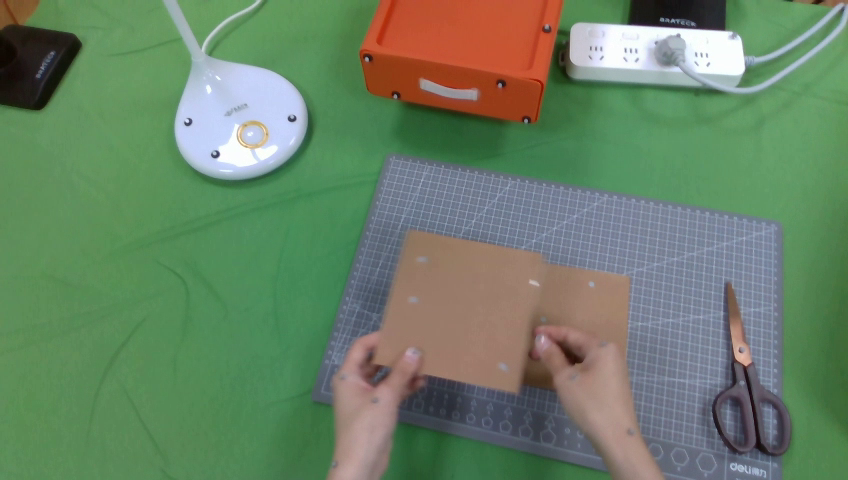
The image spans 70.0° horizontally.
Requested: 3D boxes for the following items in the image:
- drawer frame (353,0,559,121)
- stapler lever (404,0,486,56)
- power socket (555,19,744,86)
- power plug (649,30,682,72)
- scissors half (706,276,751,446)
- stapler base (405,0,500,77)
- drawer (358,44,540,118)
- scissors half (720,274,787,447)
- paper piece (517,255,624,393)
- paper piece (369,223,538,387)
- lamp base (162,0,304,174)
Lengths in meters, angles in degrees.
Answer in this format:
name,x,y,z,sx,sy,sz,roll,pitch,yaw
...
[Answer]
name,x,y,z,sx,sy,sz,roll,pitch,yaw
drawer frame,0.048,-0.260,0.698,0.201,0.083,0.212,12,66,8
stapler lever,0.022,-0.247,0.686,0.117,0.040,0.027,41,89,22
power socket,0.278,-0.233,0.751,0.226,0.033,0.071,6,67,5
power plug,0.283,-0.216,0.717,0.035,0.053,0.072,15,67,9
scissors half,0.299,0.113,0.599,0.040,0.013,0.174,13,64,0
stapler base,0.031,-0.241,0.709,0.129,0.024,0.041,41,89,21
drawer,0.050,-0.257,0.697,0.194,0.074,0.210,12,66,9
scissors half,0.320,0.114,0.599,0.040,0.013,0.173,-5,64,-2
paper piece,0.136,0.080,0.625,0.135,0.004,0.135,9,66,7
paper piece,0.029,0.057,0.565,0.136,0.009,0.137,10,73,9
lamp base,-0.239,-0.191,0.672,0.160,0.182,0.178,-40,67,-15
